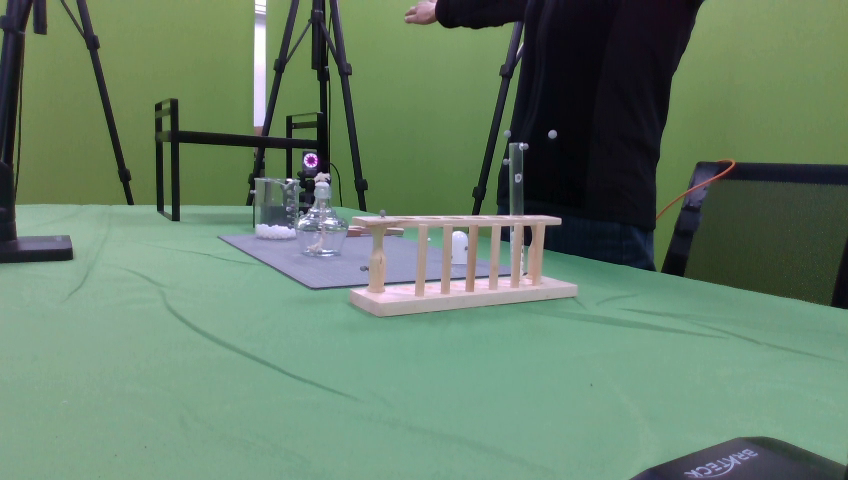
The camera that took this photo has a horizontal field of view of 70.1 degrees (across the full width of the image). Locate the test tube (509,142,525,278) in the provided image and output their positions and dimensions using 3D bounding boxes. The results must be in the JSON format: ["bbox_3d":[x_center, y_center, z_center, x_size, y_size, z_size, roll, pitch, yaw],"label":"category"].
[{"bbox_3d":[0.102,-0.031,0.663,0.017,0.150,0.017,-2,9,1],"label":"test tube"}]

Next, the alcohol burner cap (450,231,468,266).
[{"bbox_3d":[0.046,0.011,0.838,0.034,0.048,0.034,2,6,0],"label":"alcohol burner cap"}]

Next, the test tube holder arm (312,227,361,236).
[{"bbox_3d":[-0.154,-0.015,1.069,0.088,0.015,0.010,0,39,-32],"label":"test tube holder arm"}]

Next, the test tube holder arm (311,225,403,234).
[{"bbox_3d":[-0.118,-0.019,1.097,0.179,0.015,0.013,-1,40,-34],"label":"test tube holder arm"}]

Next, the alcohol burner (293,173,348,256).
[{"bbox_3d":[-0.146,-0.036,0.859,0.078,0.119,0.078,4,8,0],"label":"alcohol burner"}]

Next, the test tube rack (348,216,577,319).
[{"bbox_3d":[0.048,0.021,0.619,0.244,0.085,0.066,-2,9,-31],"label":"test tube rack"}]

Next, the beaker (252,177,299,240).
[{"bbox_3d":[-0.245,-0.052,1.005,0.074,0.100,0.083,-3,10,-32],"label":"beaker"}]
